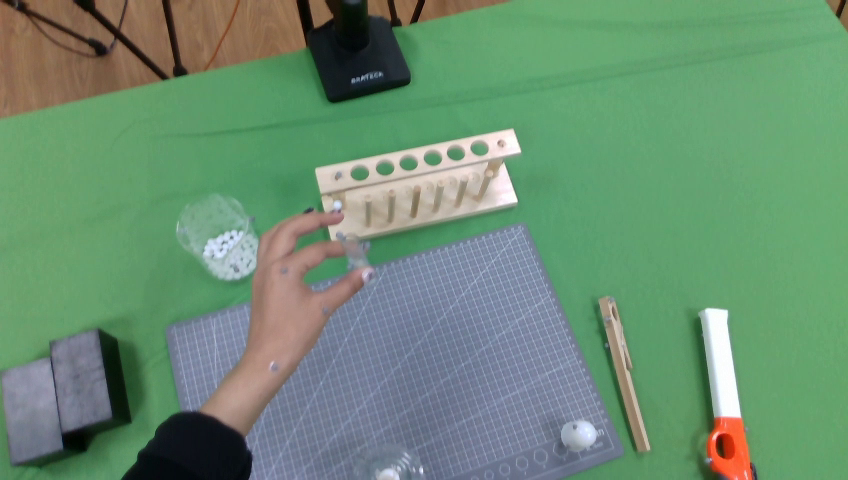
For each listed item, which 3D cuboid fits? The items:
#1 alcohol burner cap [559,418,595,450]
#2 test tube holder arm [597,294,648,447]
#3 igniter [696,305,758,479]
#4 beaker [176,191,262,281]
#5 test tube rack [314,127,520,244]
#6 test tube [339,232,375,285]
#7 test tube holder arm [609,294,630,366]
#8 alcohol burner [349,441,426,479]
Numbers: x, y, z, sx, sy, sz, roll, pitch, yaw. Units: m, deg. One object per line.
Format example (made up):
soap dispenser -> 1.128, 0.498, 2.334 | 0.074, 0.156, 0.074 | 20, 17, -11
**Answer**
alcohol burner cap -> 0.170, 0.212, 0.664 | 0.034, 0.048, 0.033 | 1, 67, -3
test tube holder arm -> 0.230, 0.149, 0.707 | 0.013, 0.015, 0.177 | 7, 65, -37
igniter -> 0.343, 0.209, 0.687 | 0.057, 0.025, 0.274 | 7, 68, -11
beaker -> -0.228, 0.002, 0.691 | 0.074, 0.101, 0.083 | -14, 70, -9
test tube rack -> -0.004, -0.066, 0.741 | 0.243, 0.085, 0.066 | -13, 70, -9
test tube -> -0.059, 0.021, 0.560 | 0.017, 0.151, 0.017 | 0, 74, 1
test tube holder arm -> 0.229, 0.108, 0.725 | 0.010, 0.015, 0.087 | 9, 64, -36
alcohol burner -> -0.036, 0.238, 0.600 | 0.078, 0.120, 0.077 | 2, 67, -4
